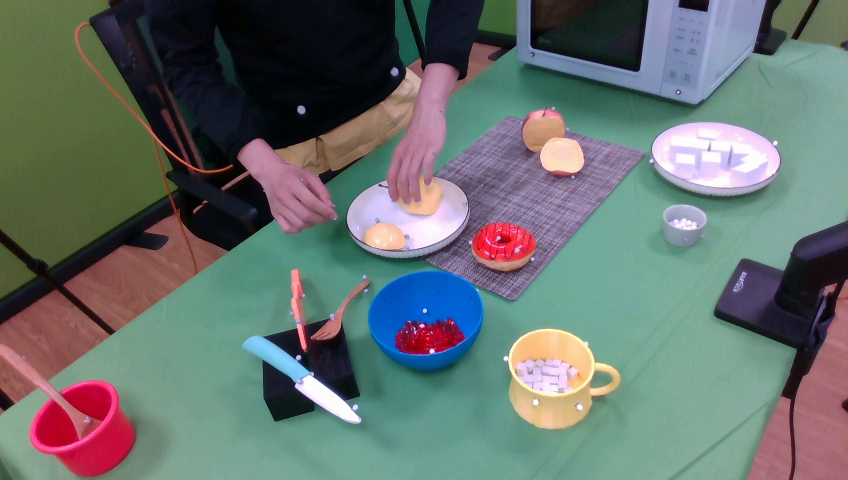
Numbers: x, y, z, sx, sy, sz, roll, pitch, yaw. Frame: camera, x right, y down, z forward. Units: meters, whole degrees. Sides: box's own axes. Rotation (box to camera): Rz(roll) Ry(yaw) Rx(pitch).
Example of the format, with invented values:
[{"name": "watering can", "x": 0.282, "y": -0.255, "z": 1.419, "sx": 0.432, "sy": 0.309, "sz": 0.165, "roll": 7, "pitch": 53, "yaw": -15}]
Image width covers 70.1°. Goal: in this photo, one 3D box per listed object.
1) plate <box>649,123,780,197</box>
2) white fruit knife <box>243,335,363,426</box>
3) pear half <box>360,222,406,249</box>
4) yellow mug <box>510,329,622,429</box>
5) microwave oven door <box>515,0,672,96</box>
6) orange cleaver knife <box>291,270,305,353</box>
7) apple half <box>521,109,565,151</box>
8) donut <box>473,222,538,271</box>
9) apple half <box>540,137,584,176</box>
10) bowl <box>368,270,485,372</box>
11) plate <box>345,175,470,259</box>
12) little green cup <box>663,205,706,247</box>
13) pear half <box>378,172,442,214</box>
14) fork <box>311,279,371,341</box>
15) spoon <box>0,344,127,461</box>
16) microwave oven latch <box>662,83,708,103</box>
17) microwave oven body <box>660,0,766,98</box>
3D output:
[{"name": "plate", "x": 0.497, "y": -0.135, "z": 1.046, "sx": 0.207, "sy": 0.039, "sz": 0.206, "roll": -4, "pitch": 40, "yaw": 4}, {"name": "white fruit knife", "x": -0.148, "y": 0.166, "z": 0.730, "sx": 0.206, "sy": 0.016, "sz": 0.027, "roll": 26, "pitch": 80, "yaw": 31}, {"name": "pear half", "x": -0.064, "y": -0.013, "z": 0.959, "sx": 0.071, "sy": 0.031, "sz": 0.087, "roll": 5, "pitch": 24, "yaw": -23}, {"name": "yellow mug", "x": 0.168, "y": 0.164, "z": 0.721, "sx": 0.130, "sy": 0.064, "sz": 0.099, "roll": 0, "pitch": 40, "yaw": 8}, {"name": "microwave oven door", "x": 0.343, "y": -0.454, "z": 1.259, "sx": 0.353, "sy": 0.245, "sz": 0.039, "roll": 26, "pitch": 51, "yaw": 33}, {"name": "orange cleaver knife", "x": -0.175, "y": 0.094, "z": 0.844, "sx": 0.012, "sy": 0.077, "sz": 0.210, "roll": -11, "pitch": 14, "yaw": -10}, {"name": "apple half", "x": 0.224, "y": -0.212, "z": 1.145, "sx": 0.080, "sy": 0.075, "sz": 0.053, "roll": -6, "pitch": 36, "yaw": 9}, {"name": "donut", "x": 0.123, "y": 0.008, "z": 0.923, "sx": 0.099, "sy": 0.048, "sz": 0.098, "roll": -3, "pitch": 38, "yaw": 3}, {"name": "apple half", "x": 0.247, "y": -0.146, "z": 1.088, "sx": 0.081, "sy": 0.033, "sz": 0.081, "roll": -1, "pitch": 65, "yaw": 3}, {"name": "bowl", "x": 0.007, "y": 0.118, "z": 0.791, "sx": 0.151, "sy": 0.077, "sz": 0.150, "roll": -5, "pitch": 40, "yaw": 4}, {"name": "plate", "x": -0.026, "y": -0.036, "z": 1.004, "sx": 0.209, "sy": 0.038, "sz": 0.208, "roll": -4, "pitch": 40, "yaw": 4}, {"name": "little green cup", "x": 0.396, "y": -0.021, "z": 0.926, "sx": 0.061, "sy": 0.039, "sz": 0.061, "roll": -4, "pitch": 40, "yaw": 4}, {"name": "pear half", "x": -0.024, "y": -0.089, "z": 1.020, "sx": 0.110, "sy": 0.056, "sz": 0.076, "roll": 13, "pitch": 35, "yaw": 1}, {"name": "fork", "x": -0.108, "y": 0.092, "z": 0.832, "sx": 0.028, "sy": 0.019, "sz": 0.207, "roll": -6, "pitch": 19, "yaw": 15}, {"name": "spoon", "x": -0.433, "y": 0.191, "z": 0.720, "sx": 0.194, "sy": 0.021, "sz": 0.042, "roll": 47, "pitch": 53, "yaw": -6}, {"name": "microwave oven latch", "x": 0.518, "y": -0.296, "z": 1.204, "sx": 0.078, "sy": 0.029, "sz": 0.030, "roll": 28, "pitch": 52, "yaw": 35}, {"name": "microwave oven body", "x": 0.472, "y": -0.513, "z": 1.317, "sx": 0.438, "sy": 0.261, "sz": 0.327, "roll": 26, "pitch": 51, "yaw": 34}]
